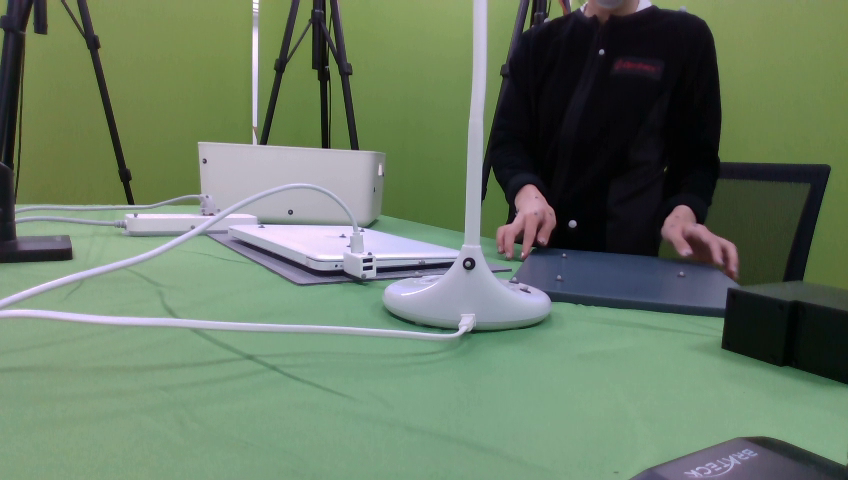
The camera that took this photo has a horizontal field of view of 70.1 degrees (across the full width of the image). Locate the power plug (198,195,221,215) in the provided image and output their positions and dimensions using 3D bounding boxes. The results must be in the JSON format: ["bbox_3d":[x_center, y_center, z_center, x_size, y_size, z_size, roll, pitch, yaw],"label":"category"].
[{"bbox_3d":[-0.387,-0.055,1.089,0.035,0.052,0.072,-1,6,-22],"label":"power plug"}]

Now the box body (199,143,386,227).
[{"bbox_3d":[-0.277,-0.124,1.334,0.364,0.160,0.254,3,7,1],"label":"box body"}]

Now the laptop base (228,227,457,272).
[{"bbox_3d":[-0.122,0.011,0.889,0.237,0.023,0.352,2,6,-35],"label":"laptop base"}]

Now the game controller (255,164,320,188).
[{"bbox_3d":[-0.298,-0.139,1.319,0.097,0.051,0.155,0,6,15],"label":"game controller"}]

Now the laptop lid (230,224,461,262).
[{"bbox_3d":[-0.120,0.000,0.888,0.243,0.013,0.355,1,7,-33],"label":"laptop lid"}]

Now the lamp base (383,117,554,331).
[{"bbox_3d":[0.045,-0.019,0.547,0.161,0.180,0.179,2,10,-4],"label":"lamp base"}]

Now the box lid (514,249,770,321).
[{"bbox_3d":[0.259,0.048,0.781,0.263,0.015,0.372,4,7,14],"label":"box lid"}]

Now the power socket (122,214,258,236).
[{"bbox_3d":[-0.398,-0.028,1.049,0.228,0.032,0.072,-3,8,-34],"label":"power socket"}]

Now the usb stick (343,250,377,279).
[{"bbox_3d":[-0.076,0.026,0.687,0.021,0.027,0.059,-8,8,-31],"label":"usb stick"}]
